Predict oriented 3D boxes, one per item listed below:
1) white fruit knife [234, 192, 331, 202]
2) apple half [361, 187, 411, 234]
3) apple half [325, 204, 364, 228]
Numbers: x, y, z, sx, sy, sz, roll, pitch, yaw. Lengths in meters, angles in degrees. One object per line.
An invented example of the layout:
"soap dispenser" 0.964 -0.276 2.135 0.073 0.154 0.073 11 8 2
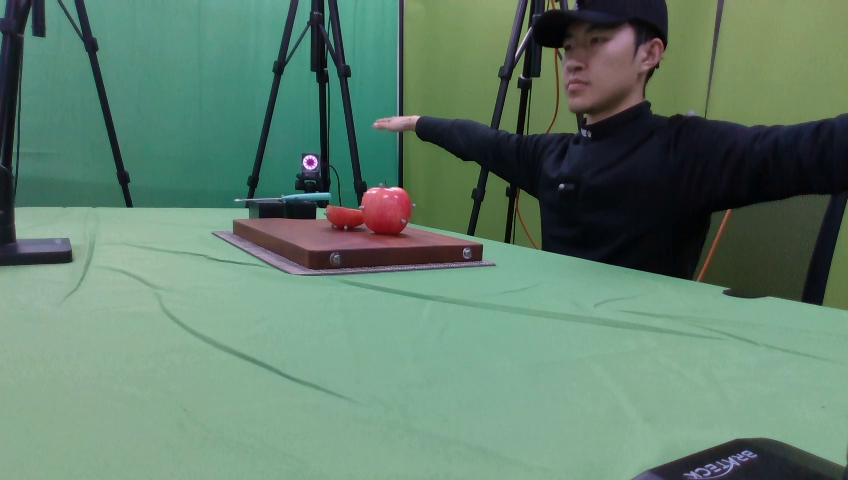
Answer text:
"white fruit knife" -0.295 -0.088 1.281 0.208 0.016 0.027 -6 -2 -26
"apple half" -0.052 -0.045 0.937 0.081 0.074 0.053 2 10 -39
"apple half" -0.128 -0.035 0.990 0.081 0.033 0.081 10 -5 1
